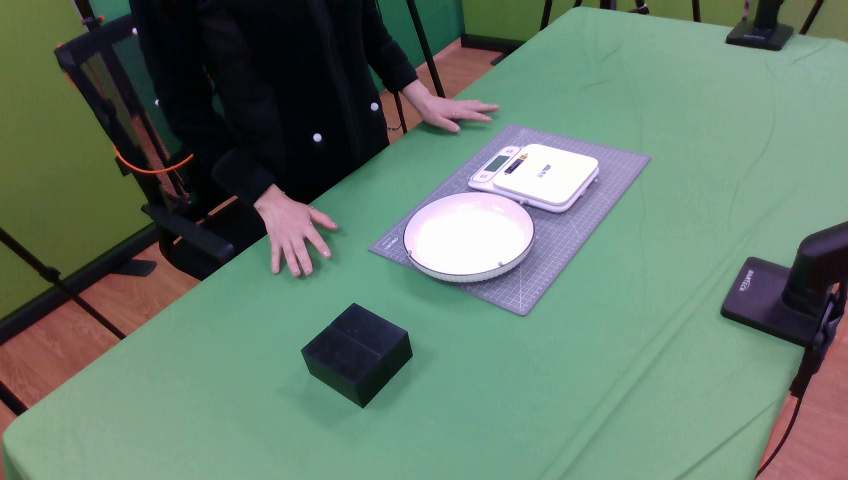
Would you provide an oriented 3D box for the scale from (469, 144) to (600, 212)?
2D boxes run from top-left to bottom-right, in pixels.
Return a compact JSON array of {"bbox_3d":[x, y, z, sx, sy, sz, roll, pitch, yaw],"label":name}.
[{"bbox_3d":[0.194,-0.117,1.075,0.199,0.032,0.149,21,48,32],"label":"scale"}]

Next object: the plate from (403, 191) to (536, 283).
[{"bbox_3d":[0.071,-0.003,0.959,0.209,0.038,0.208,-5,40,5],"label":"plate"}]
